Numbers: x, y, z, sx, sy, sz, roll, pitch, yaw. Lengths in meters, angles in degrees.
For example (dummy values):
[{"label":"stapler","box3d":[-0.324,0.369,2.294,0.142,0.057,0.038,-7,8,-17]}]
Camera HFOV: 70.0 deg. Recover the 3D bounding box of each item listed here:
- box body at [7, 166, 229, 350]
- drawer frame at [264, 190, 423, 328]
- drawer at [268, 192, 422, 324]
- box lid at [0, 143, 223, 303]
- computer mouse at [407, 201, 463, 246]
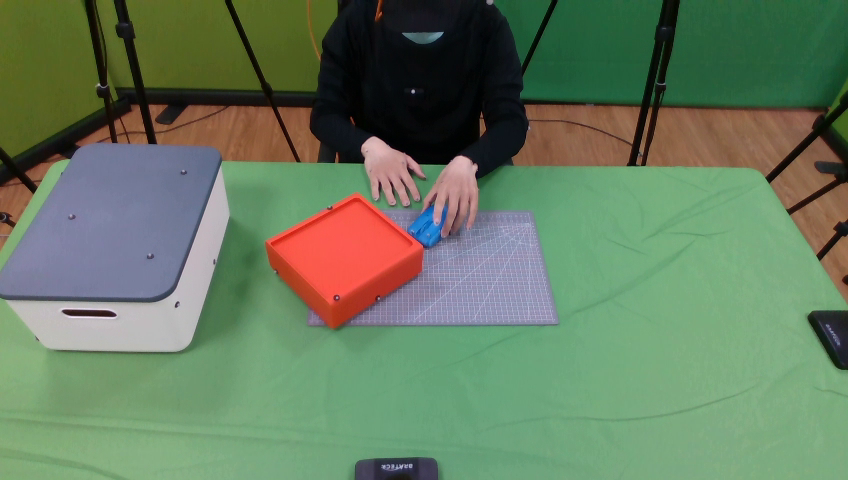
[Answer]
[{"label":"box body","box3d":[-0.502,0.008,1.054,0.254,0.161,0.361,1,46,-3]},{"label":"drawer frame","box3d":[-0.144,0.028,1.114,0.213,0.083,0.200,-34,57,-29]},{"label":"drawer","box3d":[-0.143,0.028,1.116,0.212,0.073,0.193,-33,57,-29]},{"label":"box lid","box3d":[-0.499,-0.045,1.002,0.263,0.015,0.369,2,46,-3]},{"label":"computer mouse","box3d":[0.022,-0.037,1.220,0.062,0.041,0.117,38,59,25]}]
